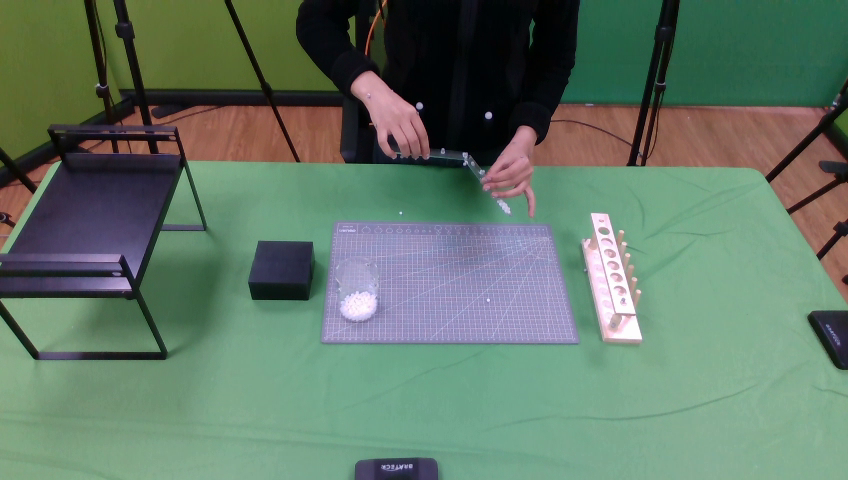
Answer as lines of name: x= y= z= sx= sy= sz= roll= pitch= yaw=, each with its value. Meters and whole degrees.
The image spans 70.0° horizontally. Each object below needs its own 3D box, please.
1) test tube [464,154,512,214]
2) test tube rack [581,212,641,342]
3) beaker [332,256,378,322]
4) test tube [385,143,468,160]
test tube: x=0.121 y=-0.101 z=1.128 sx=0.017 sy=0.151 sz=0.017 roll=-31 pitch=30 yaw=20
test tube rack: x=0.351 y=0.064 z=1.121 sx=0.067 sy=0.085 sz=0.241 roll=3 pitch=46 yaw=-1
beaker: x=-0.114 y=0.089 z=1.047 sx=0.083 sy=0.101 sz=0.074 roll=30 pitch=52 yaw=21
test tube: x=0.005 y=-0.159 z=1.085 sx=0.151 sy=0.017 sz=0.017 roll=5 pitch=46 yaw=-5
